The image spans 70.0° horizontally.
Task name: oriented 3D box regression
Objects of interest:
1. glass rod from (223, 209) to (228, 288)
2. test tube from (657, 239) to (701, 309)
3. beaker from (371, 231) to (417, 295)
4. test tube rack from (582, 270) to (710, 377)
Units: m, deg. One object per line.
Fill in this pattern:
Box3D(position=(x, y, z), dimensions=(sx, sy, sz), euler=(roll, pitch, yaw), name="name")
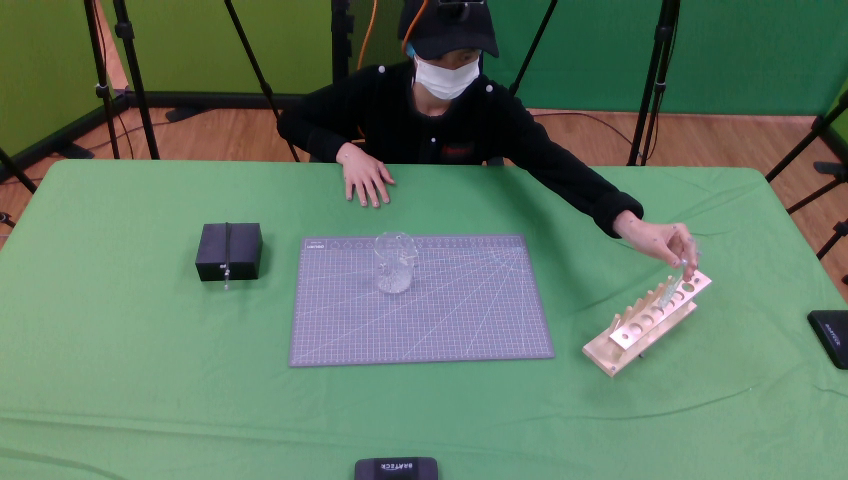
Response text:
Box3D(position=(-0.360, 0.011, 1.098), dimensions=(0.008, 0.008, 0.198), euler=(-7, 47, -12), name="glass rod")
Box3D(position=(0.399, 0.057, 0.955), dimensions=(0.017, 0.151, 0.017), euler=(4, 43, -4), name="test tube")
Box3D(position=(-0.054, 0.045, 1.093), dimensions=(0.084, 0.101, 0.073), euler=(17, 47, 10), name="beaker")
Box3D(position=(0.389, 0.132, 1.058), dimensions=(0.242, 0.085, 0.066), euler=(-28, 53, -28), name="test tube rack")
